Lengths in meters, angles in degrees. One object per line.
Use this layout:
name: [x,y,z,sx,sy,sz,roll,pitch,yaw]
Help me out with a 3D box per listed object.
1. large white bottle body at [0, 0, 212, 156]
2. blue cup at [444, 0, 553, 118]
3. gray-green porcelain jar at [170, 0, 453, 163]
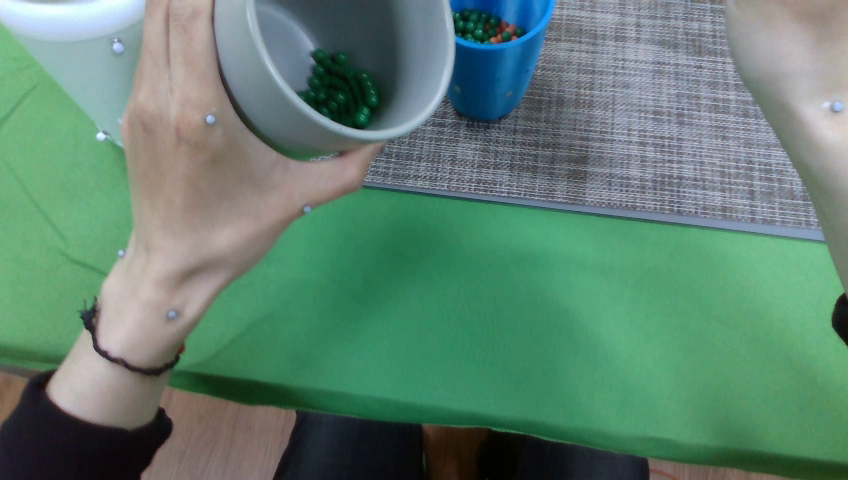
large white bottle body: [-0.205,-0.156,0.411,0.130,0.186,0.129,0,68,1]
blue cup: [0.045,-0.141,0.440,0.092,0.101,0.092,-1,68,3]
gray-green porcelain jar: [-0.065,-0.096,0.312,0.106,0.125,0.106,0,90,-38]
